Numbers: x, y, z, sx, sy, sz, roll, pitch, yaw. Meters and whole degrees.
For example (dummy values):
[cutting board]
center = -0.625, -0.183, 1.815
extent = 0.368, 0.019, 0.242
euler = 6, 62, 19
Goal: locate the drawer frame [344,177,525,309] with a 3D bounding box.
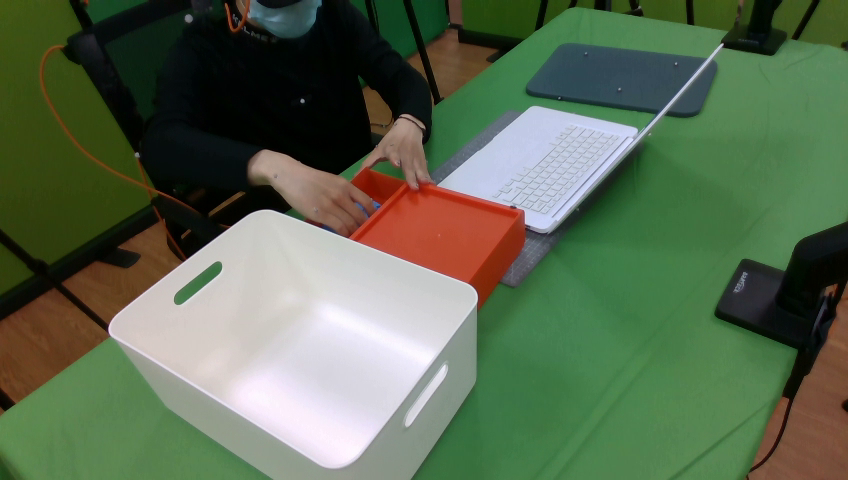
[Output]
[drawer frame]
center = 0.014, 0.009, 0.911
extent = 0.212, 0.083, 0.202
euler = 18, 47, 26

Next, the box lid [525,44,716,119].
[box lid]
center = 0.432, -0.360, 1.341
extent = 0.369, 0.015, 0.263
euler = 16, 45, 24

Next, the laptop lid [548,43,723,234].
[laptop lid]
center = 0.336, -0.160, 0.956
extent = 0.013, 0.241, 0.358
euler = 43, 54, 8

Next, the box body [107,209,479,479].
[box body]
center = -0.140, 0.136, 0.725
extent = 0.361, 0.161, 0.254
euler = 19, 47, 28

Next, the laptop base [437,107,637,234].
[laptop base]
center = 0.210, -0.142, 1.111
extent = 0.233, 0.023, 0.355
euler = 21, 48, 34

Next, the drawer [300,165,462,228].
[drawer]
center = -0.066, -0.017, 0.955
extent = 0.210, 0.073, 0.195
euler = 20, 48, 28

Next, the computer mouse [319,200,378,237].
[computer mouse]
center = -0.110, -0.034, 0.981
extent = 0.062, 0.041, 0.118
euler = 40, 44, 26
